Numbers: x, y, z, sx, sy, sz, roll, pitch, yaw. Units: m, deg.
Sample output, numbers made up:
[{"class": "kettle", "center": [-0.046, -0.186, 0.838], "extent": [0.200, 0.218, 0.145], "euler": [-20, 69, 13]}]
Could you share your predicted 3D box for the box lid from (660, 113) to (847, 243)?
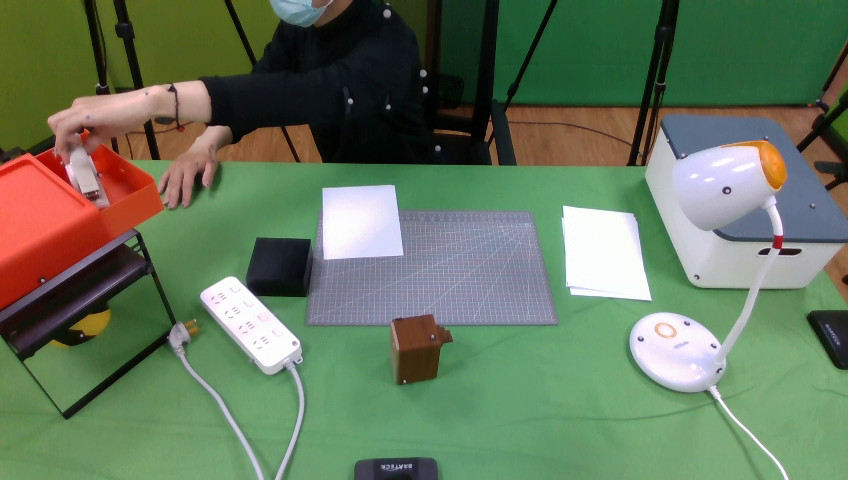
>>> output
[{"class": "box lid", "center": [0.628, -0.132, 1.170], "extent": [0.263, 0.015, 0.369], "euler": [1, 46, -3]}]

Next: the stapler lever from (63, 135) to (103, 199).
[{"class": "stapler lever", "center": [-0.518, -0.112, 0.918], "extent": [0.027, 0.040, 0.117], "euler": [-21, 60, -27]}]

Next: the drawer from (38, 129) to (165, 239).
[{"class": "drawer", "center": [-0.548, -0.061, 0.929], "extent": [0.193, 0.073, 0.211], "euler": [32, 53, 23]}]

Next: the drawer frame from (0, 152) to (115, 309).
[{"class": "drawer frame", "center": [-0.605, -0.011, 0.874], "extent": [0.201, 0.083, 0.213], "euler": [31, 52, 23]}]

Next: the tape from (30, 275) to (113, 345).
[{"class": "tape", "center": [-0.593, 0.117, 1.021], "extent": [0.117, 0.053, 0.116], "euler": [3, 46, -2]}]

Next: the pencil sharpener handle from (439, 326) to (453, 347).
[{"class": "pencil sharpener handle", "center": [0.036, 0.155, 0.976], "extent": [0.031, 0.068, 0.036], "euler": [-8, 70, -11]}]

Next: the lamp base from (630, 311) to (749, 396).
[{"class": "lamp base", "center": [0.447, 0.143, 0.983], "extent": [0.161, 0.181, 0.178], "euler": [-24, 55, -24]}]

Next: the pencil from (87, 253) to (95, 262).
[{"class": "pencil", "center": [-0.528, -0.047, 0.942], "extent": [0.012, 0.012, 0.193], "euler": [-15, 61, -17]}]

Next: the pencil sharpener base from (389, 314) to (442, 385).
[{"class": "pencil sharpener base", "center": [-0.013, 0.175, 0.971], "extent": [0.077, 0.107, 0.061], "euler": [-8, 47, -12]}]

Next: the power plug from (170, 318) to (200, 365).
[{"class": "power plug", "center": [-0.393, 0.167, 1.015], "extent": [0.052, 0.035, 0.072], "euler": [-30, 92, -23]}]

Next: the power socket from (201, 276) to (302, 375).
[{"class": "power socket", "center": [-0.297, 0.141, 1.034], "extent": [0.072, 0.033, 0.225], "euler": [-34, 58, -30]}]

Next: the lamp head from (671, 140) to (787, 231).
[{"class": "lamp head", "center": [0.415, -0.078, 0.811], "extent": [0.113, 0.123, 0.112], "euler": [12, 70, -37]}]

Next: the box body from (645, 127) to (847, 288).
[{"class": "box body", "center": [0.625, -0.080, 1.222], "extent": [0.254, 0.161, 0.361], "euler": [0, 46, -3]}]

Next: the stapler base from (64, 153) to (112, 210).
[{"class": "stapler base", "center": [-0.524, -0.097, 0.938], "extent": [0.041, 0.024, 0.130], "euler": [-21, 59, -27]}]
